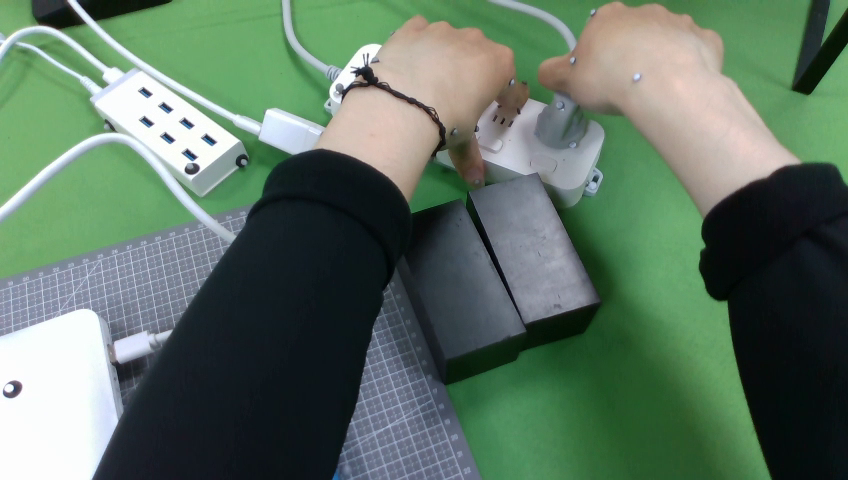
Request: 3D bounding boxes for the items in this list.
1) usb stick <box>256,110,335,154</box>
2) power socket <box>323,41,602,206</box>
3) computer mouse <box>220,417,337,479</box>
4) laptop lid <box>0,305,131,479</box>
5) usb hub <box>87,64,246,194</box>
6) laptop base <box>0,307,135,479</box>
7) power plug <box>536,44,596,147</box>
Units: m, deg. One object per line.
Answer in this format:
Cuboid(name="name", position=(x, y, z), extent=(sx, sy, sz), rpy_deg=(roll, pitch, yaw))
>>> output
Cuboid(name="usb stick", position=(-0.096, -0.081, 0.463), extent=(0.059, 0.021, 0.027), rpy_deg=(12, 104, -9))
Cuboid(name="power socket", position=(0.029, -0.093, 0.468), extent=(0.226, 0.033, 0.072), rpy_deg=(23, 62, 13))
Cuboid(name="computer mouse", position=(-0.077, 0.152, 0.322), extent=(0.063, 0.041, 0.116), rpy_deg=(-8, 56, -2))
Cuboid(name="laptop lid", position=(-0.323, 0.191, 0.299), extent=(0.357, 0.013, 0.239), rpy_deg=(-19, 65, -10))
Cuboid(name="usb hub", position=(-0.200, -0.088, 0.468), extent=(0.124, 0.025, 0.049), rpy_deg=(35, 66, 18))
Cuboid(name="laptop base", position=(-0.324, 0.196, 0.311), extent=(0.355, 0.023, 0.233), rpy_deg=(-21, 66, -11))
Cuboid(name="power plug", position=(0.112, -0.097, 0.442), extent=(0.035, 0.053, 0.072), rpy_deg=(38, 76, 21))
